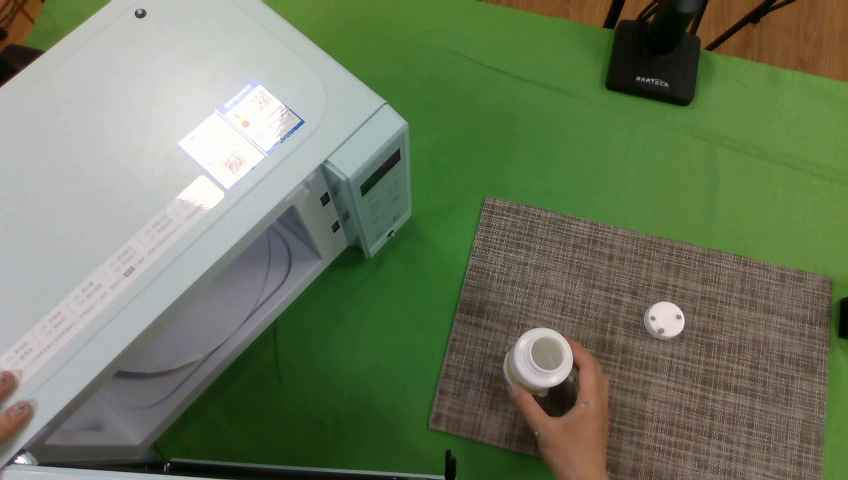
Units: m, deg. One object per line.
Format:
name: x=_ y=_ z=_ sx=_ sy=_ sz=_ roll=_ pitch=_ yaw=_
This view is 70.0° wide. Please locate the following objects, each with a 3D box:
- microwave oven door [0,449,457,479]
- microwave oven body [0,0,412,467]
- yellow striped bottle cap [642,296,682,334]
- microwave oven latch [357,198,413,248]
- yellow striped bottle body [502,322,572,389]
microwave oven door: x=-0.141 y=0.224 z=0.557 sx=0.356 sy=0.245 sz=0.039 roll=3 pitch=71 yaw=0
microwave oven body: x=-0.276 y=-0.027 z=0.640 sx=0.324 sy=0.261 sz=0.441 roll=41 pitch=77 yaw=11
yellow striped bottle cap: x=0.291 y=0.091 z=0.739 sx=0.044 sy=0.019 sz=0.044 roll=0 pitch=73 yaw=1
microwave oven latch: x=-0.048 y=-0.028 z=0.745 sx=0.030 sy=0.029 sz=0.079 roll=42 pitch=77 yaw=11
yellow striped bottle body: x=0.124 y=0.128 z=0.669 sx=0.063 sy=0.121 sz=0.062 roll=0 pitch=72 yaw=0
